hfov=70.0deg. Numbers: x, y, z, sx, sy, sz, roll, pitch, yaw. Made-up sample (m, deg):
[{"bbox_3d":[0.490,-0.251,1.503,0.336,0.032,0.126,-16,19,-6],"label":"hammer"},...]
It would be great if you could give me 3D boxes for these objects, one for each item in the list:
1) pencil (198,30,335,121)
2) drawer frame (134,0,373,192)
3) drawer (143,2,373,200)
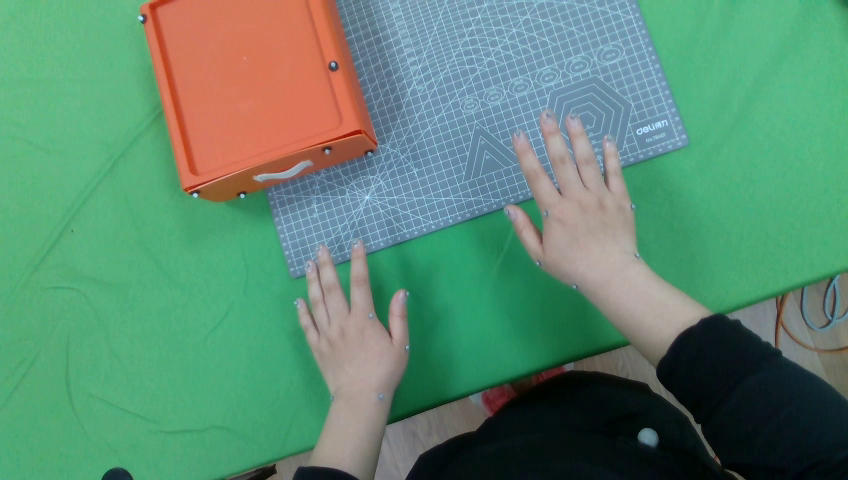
[{"bbox_3d":[-0.177,-0.184,0.677,0.193,0.012,0.012,34,91,9],"label":"pencil"},{"bbox_3d":[-0.182,-0.175,0.654,0.201,0.083,0.213,-19,83,8],"label":"drawer frame"},{"bbox_3d":[-0.179,-0.170,0.655,0.194,0.073,0.211,-18,82,8],"label":"drawer"}]
